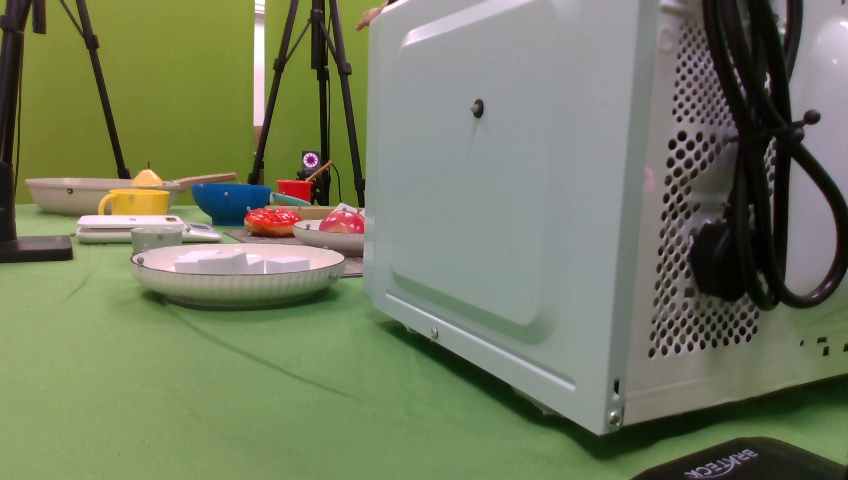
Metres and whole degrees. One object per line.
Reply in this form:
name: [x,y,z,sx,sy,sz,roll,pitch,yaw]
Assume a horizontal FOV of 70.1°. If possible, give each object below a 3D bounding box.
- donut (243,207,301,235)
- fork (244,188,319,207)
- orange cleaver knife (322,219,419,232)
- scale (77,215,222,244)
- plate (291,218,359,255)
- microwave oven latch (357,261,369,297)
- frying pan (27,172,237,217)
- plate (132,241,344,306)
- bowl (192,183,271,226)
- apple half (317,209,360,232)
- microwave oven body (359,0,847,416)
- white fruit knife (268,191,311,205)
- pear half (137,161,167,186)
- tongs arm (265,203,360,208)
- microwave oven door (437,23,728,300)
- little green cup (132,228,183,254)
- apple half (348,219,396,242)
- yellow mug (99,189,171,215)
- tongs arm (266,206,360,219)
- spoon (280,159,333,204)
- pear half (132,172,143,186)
donut: [-0.261,-0.032,1.043,0.099,0.048,0.099,4,9,0]
fork: [-0.356,-0.105,1.526,0.208,0.018,0.028,16,-5,-41]
orange cleaver knife: [-0.097,-0.027,1.153,0.077,0.012,0.212,1,6,41]
scale: [-0.434,-0.019,0.963,0.202,0.031,0.148,-1,9,-27]
plate: [-0.098,-0.007,0.928,0.209,0.038,0.209,2,8,0]
microwave oven latch: [-0.019,0.033,0.530,0.079,0.029,0.030,-1,7,-26]
frying pan: [-0.624,-0.118,1.387,0.305,0.102,0.490,8,17,32]
plate: [-0.187,0.033,0.625,0.208,0.039,0.207,2,7,0]
bowl: [-0.382,-0.071,1.202,0.151,0.077,0.151,3,7,0]
apple half: [-0.121,-0.020,0.900,0.080,0.053,0.075,4,11,14]
microwave oven body: [0.211,-0.047,0.474,0.444,0.260,0.324,-1,7,-28]
white fruit knife: [-0.364,-0.105,1.463,0.208,0.027,0.016,15,-2,-34]
pear half: [-0.602,-0.120,1.354,0.056,0.110,0.076,4,11,6]
tongs arm: [-0.209,-0.069,1.438,0.389,0.027,0.028,1,0,-17]
microwave oven door: [0.180,-0.072,0.621,0.358,0.243,0.039,-2,8,-29]
little green cup: [-0.342,0.006,0.779,0.061,0.038,0.061,2,8,0]
apple half: [-0.083,-0.018,0.967,0.081,0.033,0.081,5,10,0]
yellow mug: [-0.519,-0.055,1.080,0.099,0.064,0.131,7,9,26]
tongs arm: [-0.173,-0.061,1.362,0.387,0.026,0.050,-1,4,-31]
spoon: [-0.316,-0.159,1.640,0.194,0.022,0.041,-50,32,-20]
pear half: [-0.638,-0.113,1.361,0.031,0.088,0.070,5,11,4]
